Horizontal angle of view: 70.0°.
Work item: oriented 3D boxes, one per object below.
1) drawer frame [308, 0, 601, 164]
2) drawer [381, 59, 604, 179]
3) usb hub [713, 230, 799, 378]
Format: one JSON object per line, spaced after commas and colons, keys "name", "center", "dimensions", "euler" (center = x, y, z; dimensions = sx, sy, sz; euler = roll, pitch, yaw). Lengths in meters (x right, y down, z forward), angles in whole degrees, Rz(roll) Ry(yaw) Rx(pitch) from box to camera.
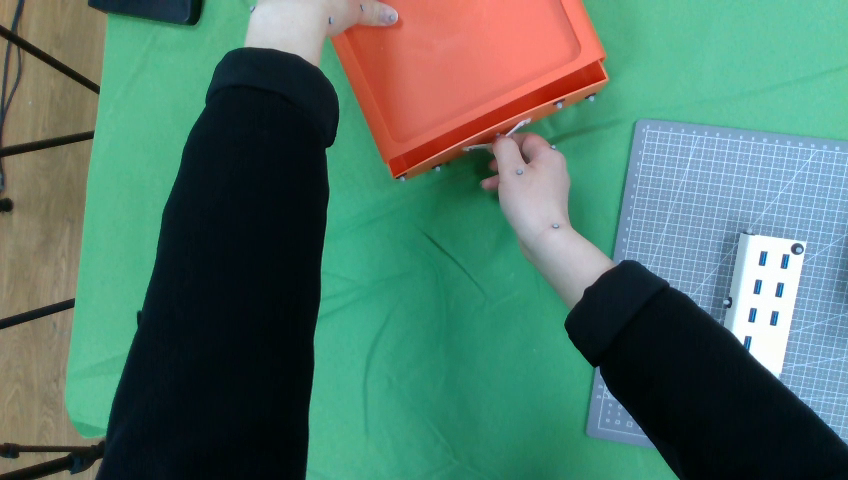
{"name": "drawer frame", "center": [0.013, -0.201, 0.523], "dimensions": [0.201, 0.083, 0.213], "euler": [-25, 91, 10]}
{"name": "drawer", "center": [0.021, -0.185, 0.527], "dimensions": [0.194, 0.073, 0.211], "euler": [-24, 91, 10]}
{"name": "usb hub", "center": [0.292, 0.056, 0.535], "dimensions": [0.049, 0.025, 0.125], "euler": [7, 96, 7]}
